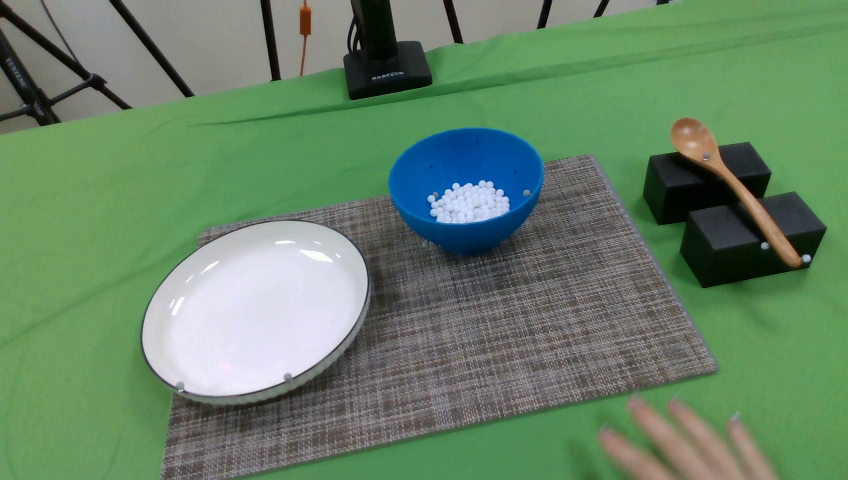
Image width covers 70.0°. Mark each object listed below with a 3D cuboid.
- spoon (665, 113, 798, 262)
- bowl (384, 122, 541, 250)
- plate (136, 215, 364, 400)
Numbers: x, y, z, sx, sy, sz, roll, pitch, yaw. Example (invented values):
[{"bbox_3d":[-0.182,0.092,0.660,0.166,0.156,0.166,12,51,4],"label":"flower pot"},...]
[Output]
[{"bbox_3d":[0.276,-0.054,0.551,0.041,0.022,0.191,-14,46,-3],"label":"spoon"},{"bbox_3d":[0.040,-0.043,0.604,0.151,0.077,0.150,-4,45,5],"label":"bowl"},{"bbox_3d":[-0.156,0.061,0.564,0.207,0.039,0.205,-5,45,5],"label":"plate"}]
